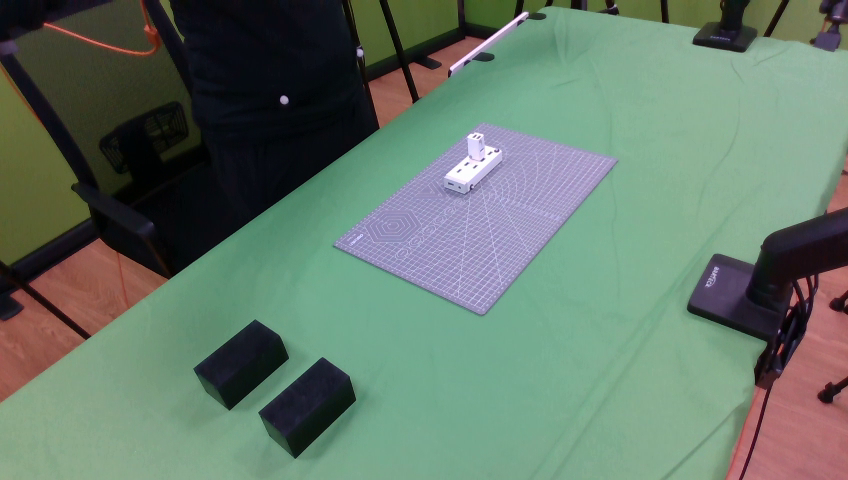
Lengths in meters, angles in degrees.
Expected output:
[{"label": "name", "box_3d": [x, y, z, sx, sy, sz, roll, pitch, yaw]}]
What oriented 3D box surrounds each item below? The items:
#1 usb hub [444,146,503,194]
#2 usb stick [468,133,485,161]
[{"label": "usb hub", "box_3d": [0.091, -0.129, 1.102, 0.049, 0.025, 0.125, 23, 49, 30]}, {"label": "usb stick", "box_3d": [0.095, -0.162, 1.096, 0.027, 0.059, 0.021, 21, 48, 27]}]
